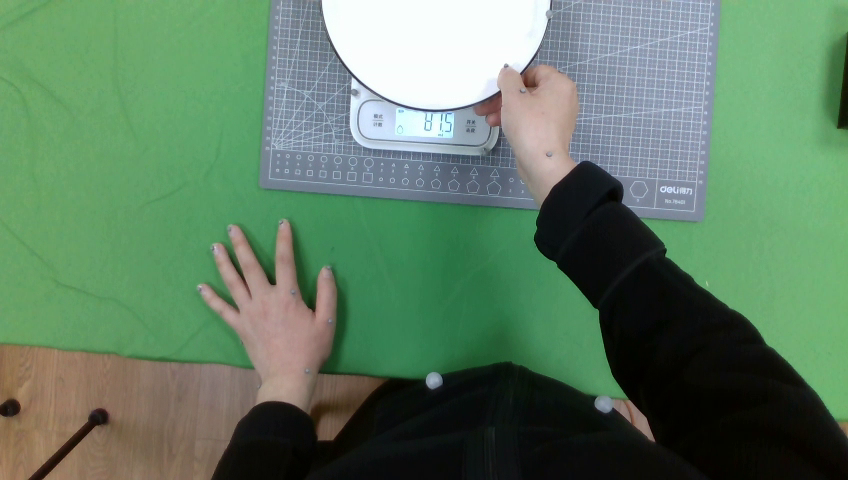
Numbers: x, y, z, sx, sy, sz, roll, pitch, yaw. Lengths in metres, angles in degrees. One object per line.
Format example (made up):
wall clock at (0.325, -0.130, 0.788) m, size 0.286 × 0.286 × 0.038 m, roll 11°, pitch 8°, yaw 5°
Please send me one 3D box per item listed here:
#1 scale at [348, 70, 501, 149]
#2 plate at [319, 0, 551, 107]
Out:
scale at (0.004, -0.195, 0.593) m, size 0.149 × 0.031 × 0.201 m, roll 4°, pitch 92°, yaw -1°
plate at (0.010, -0.222, 0.556) m, size 0.209 × 0.038 × 0.209 m, roll 0°, pitch 89°, yaw -1°
